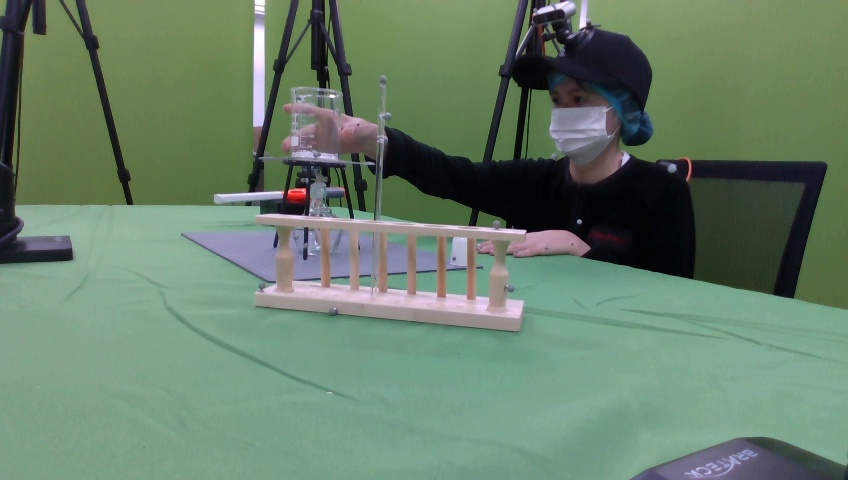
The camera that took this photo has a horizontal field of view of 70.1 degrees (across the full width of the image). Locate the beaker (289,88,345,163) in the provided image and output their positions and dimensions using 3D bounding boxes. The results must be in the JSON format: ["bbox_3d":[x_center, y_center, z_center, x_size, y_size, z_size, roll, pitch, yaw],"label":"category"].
[{"bbox_3d":[-0.157,-0.160,0.862,0.083,0.100,0.074,7,7,34],"label":"beaker"}]

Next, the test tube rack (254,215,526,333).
[{"bbox_3d":[-0.030,0.025,0.558,0.242,0.085,0.067,4,7,12],"label":"test tube rack"}]

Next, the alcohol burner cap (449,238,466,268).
[{"bbox_3d":[0.051,0.015,0.827,0.034,0.048,0.034,2,4,0],"label":"alcohol burner cap"}]

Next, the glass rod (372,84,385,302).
[{"bbox_3d":[-0.041,-0.040,0.548,0.008,0.199,0.008,2,2,0],"label":"glass rod"}]

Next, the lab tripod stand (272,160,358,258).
[{"bbox_3d":[-0.159,-0.048,0.876,0.148,0.131,0.148,3,5,0],"label":"lab tripod stand"}]

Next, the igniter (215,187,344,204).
[{"bbox_3d":[-0.290,-0.093,1.256,0.278,0.025,0.057,-6,11,-35],"label":"igniter"}]

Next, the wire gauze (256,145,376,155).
[{"bbox_3d":[-0.155,-0.129,0.871,0.124,0.011,0.122,2,8,36],"label":"wire gauze"}]

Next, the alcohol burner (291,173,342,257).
[{"bbox_3d":[-0.155,-0.037,0.870,0.078,0.119,0.078,1,6,0],"label":"alcohol burner"}]
